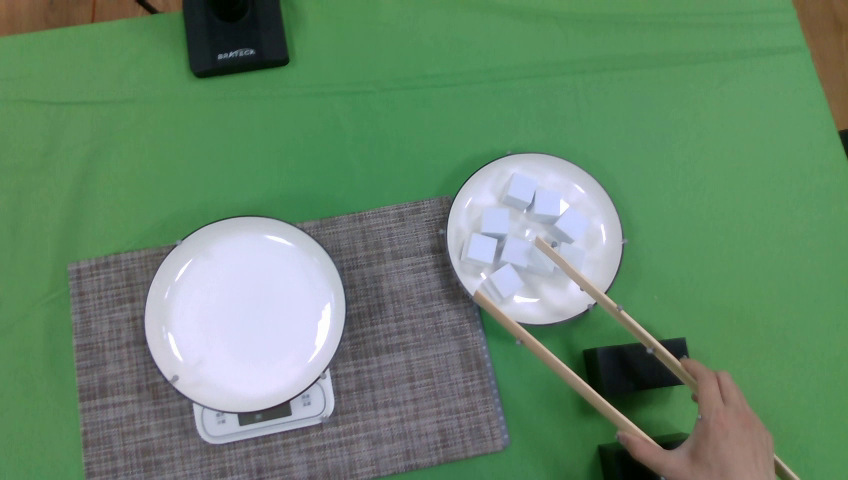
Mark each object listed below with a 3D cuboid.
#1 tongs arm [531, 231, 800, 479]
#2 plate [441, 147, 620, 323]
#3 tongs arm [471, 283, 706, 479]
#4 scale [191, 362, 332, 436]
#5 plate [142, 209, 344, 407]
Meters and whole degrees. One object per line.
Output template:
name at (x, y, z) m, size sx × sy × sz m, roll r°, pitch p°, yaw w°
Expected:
tongs arm at (0.235, 0.133, 0.606) m, size 0.051 × 0.027 × 0.382 m, roll -39°, pitch 70°, yaw -20°
plate at (0.122, -0.005, 0.713) m, size 0.208 × 0.039 × 0.206 m, roll 1°, pitch 78°, yaw -3°
tongs arm at (0.195, 0.165, 0.589) m, size 0.385 × 0.028 × 0.028 m, roll 39°, pitch 64°, yaw 17°
scale at (-0.189, 0.106, 0.673) m, size 0.149 × 0.031 × 0.200 m, roll -10°, pitch 79°, yaw -5°
plate at (-0.188, 0.070, 0.646) m, size 0.209 × 0.038 × 0.208 m, roll 1°, pitch 78°, yaw -3°
